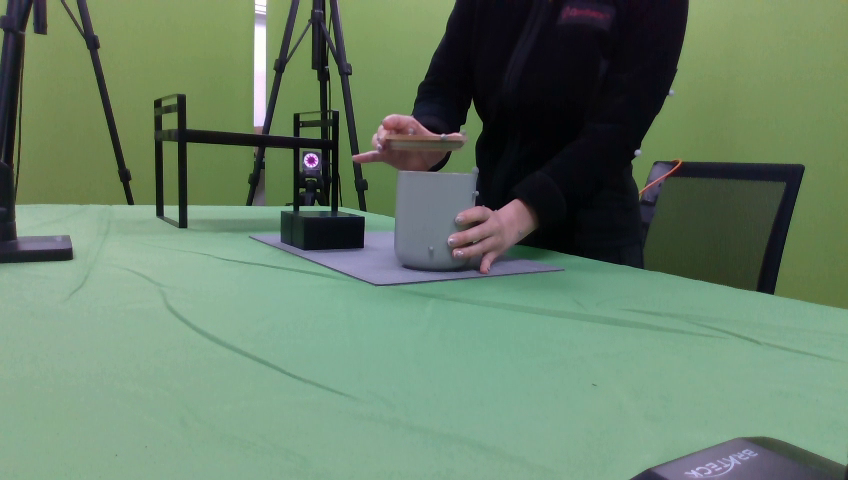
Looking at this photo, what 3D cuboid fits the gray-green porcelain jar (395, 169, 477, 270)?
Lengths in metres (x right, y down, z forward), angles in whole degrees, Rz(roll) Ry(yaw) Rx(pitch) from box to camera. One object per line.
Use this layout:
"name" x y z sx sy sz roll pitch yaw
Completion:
"gray-green porcelain jar" 0.015 -0.029 0.793 0.106 0.126 0.106 2 7 0

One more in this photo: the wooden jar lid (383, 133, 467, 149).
"wooden jar lid" 0.001 -0.129 0.783 0.108 0.020 0.108 2 10 0
